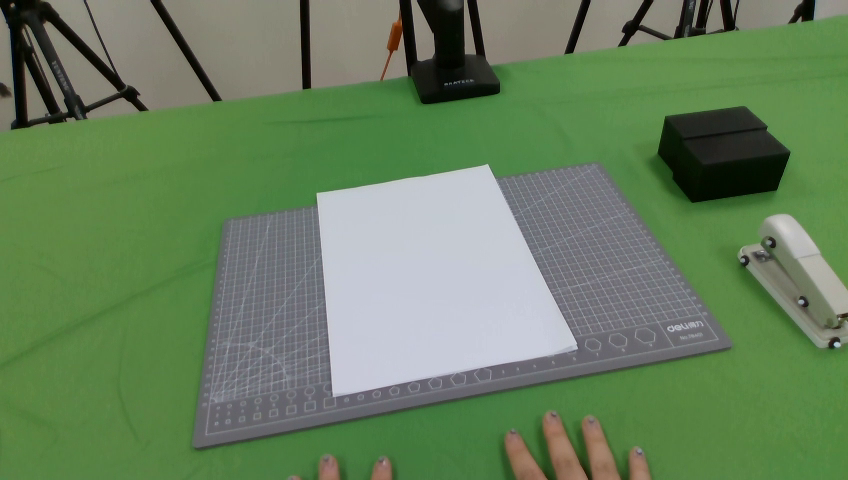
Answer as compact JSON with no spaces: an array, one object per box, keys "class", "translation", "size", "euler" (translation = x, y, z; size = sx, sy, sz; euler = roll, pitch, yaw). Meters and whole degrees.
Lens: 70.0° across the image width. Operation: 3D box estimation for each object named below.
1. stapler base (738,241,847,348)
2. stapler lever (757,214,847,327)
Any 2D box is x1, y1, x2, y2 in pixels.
[{"class":"stapler base","translation":[0.339,0.040,0.550],"size":[0.041,0.025,0.129],"euler":[-12,43,-5]},{"class":"stapler lever","translation":[0.339,0.022,0.533],"size":[0.027,0.040,0.116],"euler":[-12,41,-5]}]
